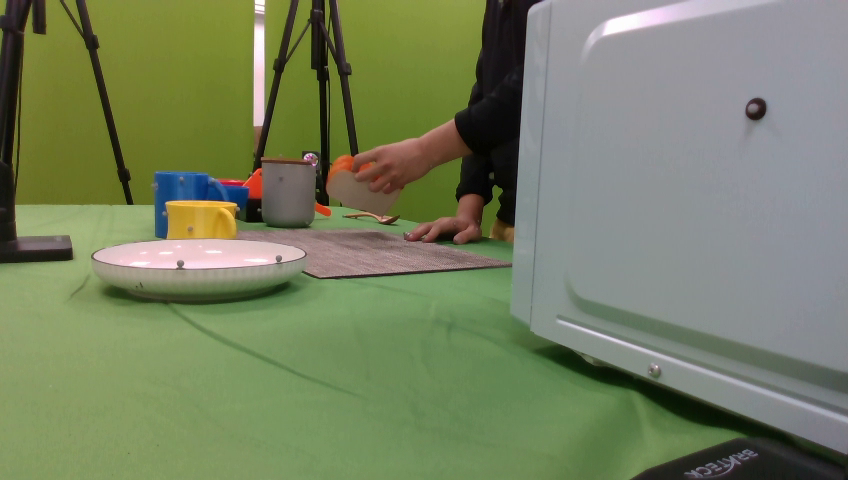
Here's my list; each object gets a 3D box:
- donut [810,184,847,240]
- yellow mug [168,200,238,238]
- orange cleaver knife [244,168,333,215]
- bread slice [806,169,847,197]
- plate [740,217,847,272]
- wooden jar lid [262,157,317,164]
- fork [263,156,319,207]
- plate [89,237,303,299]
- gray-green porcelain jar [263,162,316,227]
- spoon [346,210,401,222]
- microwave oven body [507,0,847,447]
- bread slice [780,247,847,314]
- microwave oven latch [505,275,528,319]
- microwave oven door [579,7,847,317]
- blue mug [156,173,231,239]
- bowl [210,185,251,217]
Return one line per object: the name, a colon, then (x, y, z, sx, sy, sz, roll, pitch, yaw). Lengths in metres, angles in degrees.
donut: (0.352, -0.025, 0.463, 0.099, 0.048, 0.099, -10, 4, 1)
yellow mug: (-0.320, -0.023, 0.904, 0.130, 0.064, 0.100, 9, 10, 36)
orange cleaver knife: (-0.300, -0.089, 1.351, 0.212, 0.077, 0.012, 28, -9, -34)
bread slice: (0.365, -0.051, 0.453, 0.135, 0.018, 0.106, -10, 1, -23)
plate: (0.358, 0.002, 0.465, 0.209, 0.038, 0.209, 0, 4, 0)
wooden jar lid: (-0.269, -0.154, 1.208, 0.108, 0.020, 0.108, 3, 4, 0)
fork: (-0.331, -0.144, 1.505, 0.207, 0.018, 0.028, -42, -20, 22)
plate: (-0.233, 0.029, 0.637, 0.208, 0.039, 0.207, 2, 7, 0)
gray-green porcelain jar: (-0.271, -0.092, 1.217, 0.106, 0.126, 0.106, 2, 7, 0)
spoon: (-0.121, -0.060, 1.400, 0.042, 0.021, 0.192, -28, 25, -37)
microwave oven body: (0.331, -0.042, 0.425, 0.444, 0.260, 0.324, -2, 8, -31)
bread slice: (0.369, 0.022, 0.475, 0.132, 0.019, 0.104, -23, 11, -10)
microwave oven latch: (0.100, 0.041, 0.471, 0.079, 0.029, 0.030, -1, 7, -28)
microwave oven door: (0.294, -0.067, 0.570, 0.358, 0.243, 0.039, -3, 9, -31)
blue mug: (-0.381, -0.057, 1.004, 0.117, 0.106, 0.082, 1, 8, -12)
bowl: (-0.408, -0.064, 1.155, 0.151, 0.077, 0.151, 2, 8, 0)
